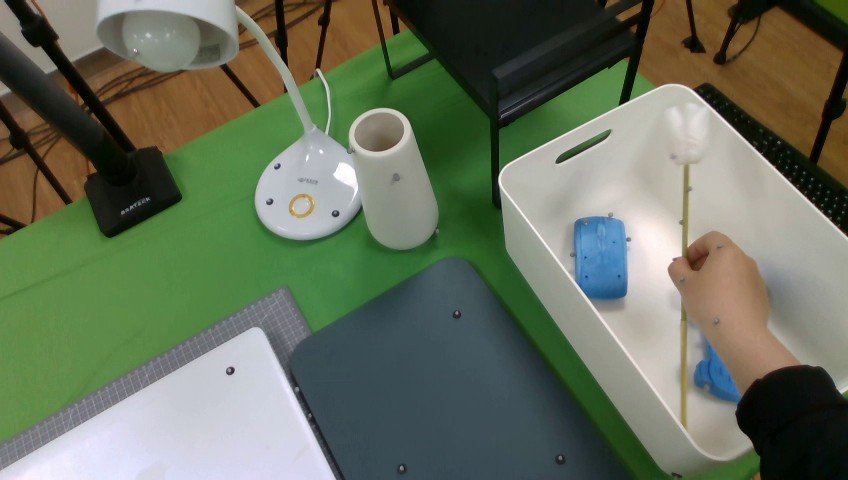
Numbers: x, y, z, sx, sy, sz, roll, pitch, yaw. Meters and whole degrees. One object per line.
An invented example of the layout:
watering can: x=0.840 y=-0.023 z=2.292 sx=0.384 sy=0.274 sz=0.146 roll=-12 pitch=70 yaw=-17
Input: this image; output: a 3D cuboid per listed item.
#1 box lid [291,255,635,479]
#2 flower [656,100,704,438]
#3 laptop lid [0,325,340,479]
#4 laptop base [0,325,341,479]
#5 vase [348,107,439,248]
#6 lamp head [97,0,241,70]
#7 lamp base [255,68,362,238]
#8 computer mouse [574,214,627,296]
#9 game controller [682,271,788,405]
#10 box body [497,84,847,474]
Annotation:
box lid: x=0.030 y=0.202 z=0.691 sx=0.263 sy=0.015 sz=0.368 roll=-30 pitch=62 yaw=-11
flower: x=0.267 y=0.043 z=0.618 sx=0.044 sy=0.038 sz=0.362 roll=-2 pitch=95 yaw=22
laptop lid: x=-0.294 y=0.272 z=0.673 sx=0.357 sy=0.013 sz=0.239 roll=-29 pitch=64 yaw=-9
laptop base: x=-0.294 y=0.276 z=0.684 sx=0.354 sy=0.023 sz=0.233 roll=-30 pitch=65 yaw=-10
vase: x=-0.038 y=-0.072 z=0.746 sx=0.098 sy=0.202 sz=0.097 roll=-4 pitch=59 yaw=7
lamp head: x=-0.212 y=-0.218 z=0.515 sx=0.112 sy=0.113 sz=0.122 roll=-4 pitch=78 yaw=5
lamp base: x=-0.170 y=-0.121 z=0.801 sx=0.160 sy=0.182 sz=0.177 roll=-1 pitch=58 yaw=7
computer mouse: x=0.219 y=0.015 z=0.753 sx=0.062 sy=0.041 sz=0.116 roll=2 pitch=57 yaw=12
game controller: x=0.350 y=0.104 z=0.683 sx=0.097 sy=0.052 sz=0.154 roll=1 pitch=60 yaw=9
box body: x=0.276 y=0.038 z=0.668 sx=0.254 sy=0.162 sz=0.360 roll=-28 pitch=61 yaw=-9
